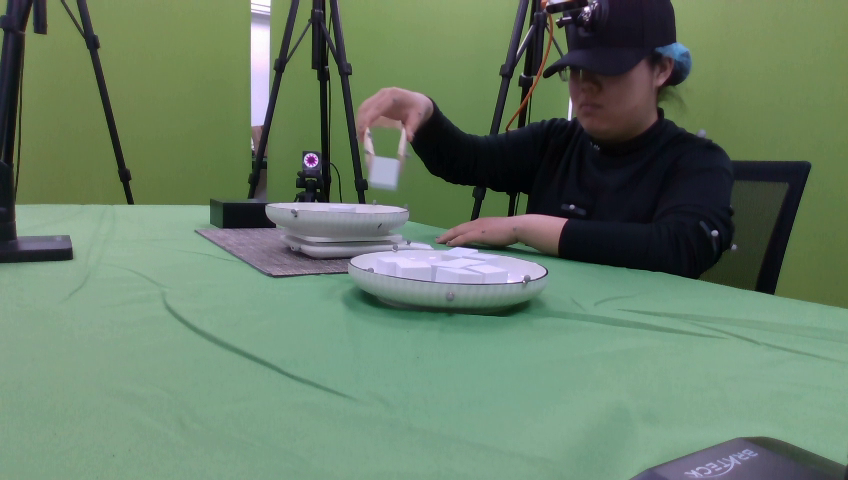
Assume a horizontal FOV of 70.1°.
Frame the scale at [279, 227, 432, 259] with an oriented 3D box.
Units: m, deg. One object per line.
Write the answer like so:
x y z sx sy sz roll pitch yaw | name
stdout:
-0.100 0.001 0.899 0.202 0.031 0.148 -1 8 -31 | scale

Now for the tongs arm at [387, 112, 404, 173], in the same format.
-0.043 -0.152 0.893 0.028 0.028 0.387 -2 19 -2 | tongs arm

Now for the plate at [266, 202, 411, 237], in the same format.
-0.123 -0.030 0.879 0.208 0.039 0.207 2 6 0 | plate

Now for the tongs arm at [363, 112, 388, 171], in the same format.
-0.067 -0.153 0.892 0.051 0.026 0.384 0 19 -8 | tongs arm

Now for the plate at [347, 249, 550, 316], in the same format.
0.025 0.042 0.627 0.209 0.038 0.209 2 7 0 | plate
